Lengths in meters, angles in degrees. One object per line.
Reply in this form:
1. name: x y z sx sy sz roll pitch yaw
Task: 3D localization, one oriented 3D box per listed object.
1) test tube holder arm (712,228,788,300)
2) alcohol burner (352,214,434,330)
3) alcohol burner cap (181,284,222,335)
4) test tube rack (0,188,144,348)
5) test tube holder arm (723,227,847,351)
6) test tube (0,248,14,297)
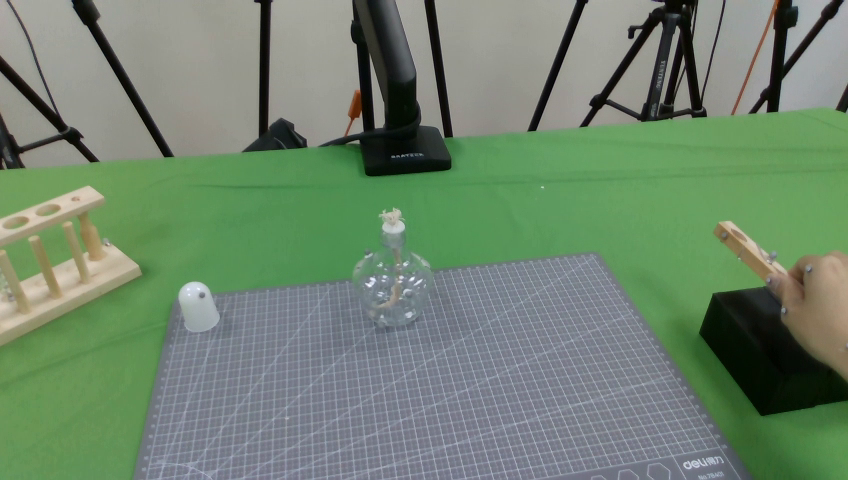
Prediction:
1. test tube holder arm: 0.290 0.020 0.536 0.010 0.015 0.087 -14 42 -15
2. alcohol burner: -0.029 0.025 0.563 0.078 0.120 0.077 2 37 -1
3. alcohol burner cap: -0.211 0.062 0.569 0.034 0.048 0.033 1 37 -1
4. test tube rack: -0.399 0.044 0.558 0.066 0.086 0.242 27 43 32
5. test tube holder arm: 0.311 0.046 0.506 0.013 0.015 0.176 -14 42 -15
6. test tube: -0.401 -0.011 0.551 0.017 0.151 0.017 0 30 1
